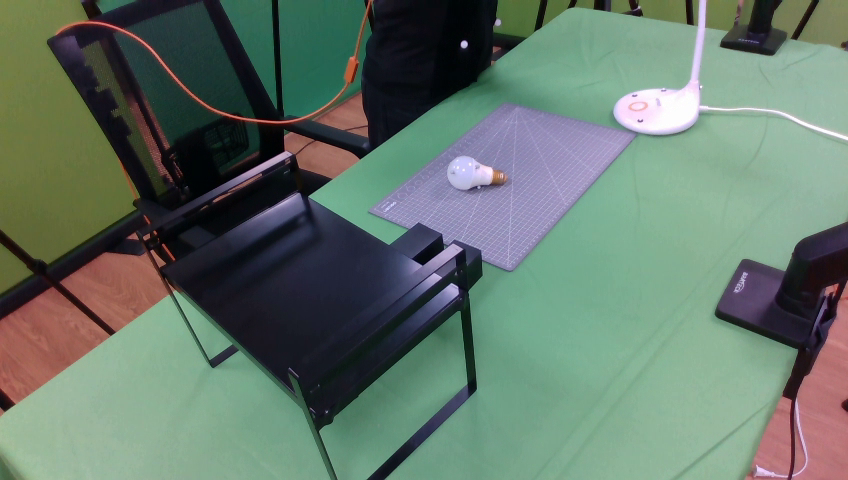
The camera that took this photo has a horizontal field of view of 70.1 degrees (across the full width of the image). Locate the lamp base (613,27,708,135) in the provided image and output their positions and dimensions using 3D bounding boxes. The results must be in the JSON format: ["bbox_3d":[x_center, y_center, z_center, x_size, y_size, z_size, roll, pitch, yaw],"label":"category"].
[{"bbox_3d":[0.463,-0.315,1.152,0.179,0.181,0.159,-5,41,-1],"label":"lamp base"}]

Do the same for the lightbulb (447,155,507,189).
[{"bbox_3d":[0.095,-0.118,1.074,0.108,0.059,0.059,7,40,-7],"label":"lightbulb"}]
